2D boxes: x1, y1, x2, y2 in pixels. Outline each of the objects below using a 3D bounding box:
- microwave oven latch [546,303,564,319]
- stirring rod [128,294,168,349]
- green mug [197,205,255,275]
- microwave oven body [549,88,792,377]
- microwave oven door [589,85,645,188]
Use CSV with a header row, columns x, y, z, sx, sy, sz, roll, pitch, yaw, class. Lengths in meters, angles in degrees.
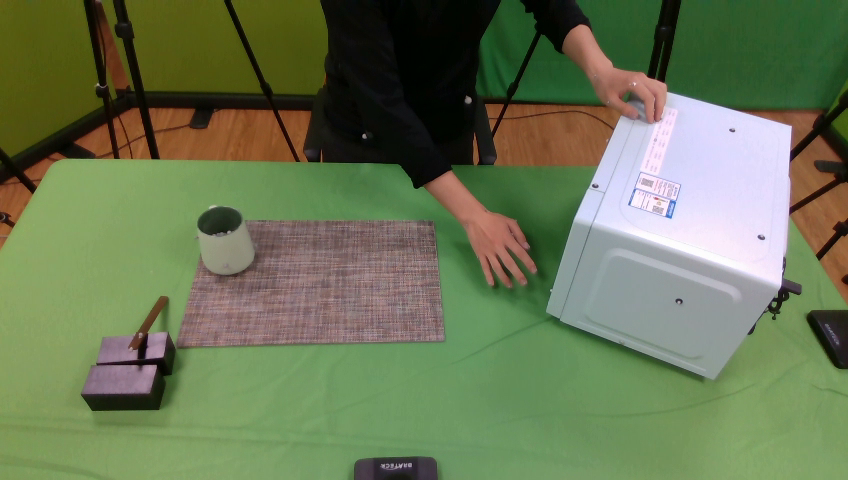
x,y,z,sx,sy,sz,roll,pitch,yaw,class
0.242,0.102,1.081,0.030,0.029,0.079,22,48,17,microwave oven latch
-0.451,0.131,0.996,0.014,0.006,0.175,9,21,-10,stirring rod
-0.370,-0.008,1.114,0.092,0.105,0.124,-19,50,-20,green mug
0.456,-0.028,1.088,0.325,0.261,0.440,20,47,16,microwave oven body
0.342,-0.107,1.149,0.039,0.245,0.354,21,48,15,microwave oven door
